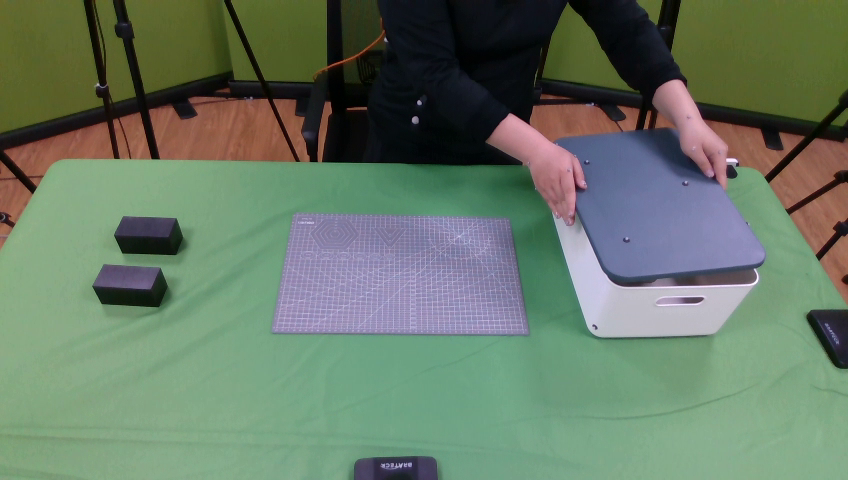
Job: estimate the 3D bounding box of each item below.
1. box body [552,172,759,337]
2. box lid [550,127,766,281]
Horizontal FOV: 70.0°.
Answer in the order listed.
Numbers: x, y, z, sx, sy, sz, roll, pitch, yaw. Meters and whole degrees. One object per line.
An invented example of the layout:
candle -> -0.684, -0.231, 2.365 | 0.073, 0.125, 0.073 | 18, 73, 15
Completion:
box body -> 0.400, -0.001, 1.131 | 0.254, 0.161, 0.361 | -1, 46, -5
box lid -> 0.386, -0.076, 1.047 | 0.263, 0.015, 0.369 | -6, 45, -4
